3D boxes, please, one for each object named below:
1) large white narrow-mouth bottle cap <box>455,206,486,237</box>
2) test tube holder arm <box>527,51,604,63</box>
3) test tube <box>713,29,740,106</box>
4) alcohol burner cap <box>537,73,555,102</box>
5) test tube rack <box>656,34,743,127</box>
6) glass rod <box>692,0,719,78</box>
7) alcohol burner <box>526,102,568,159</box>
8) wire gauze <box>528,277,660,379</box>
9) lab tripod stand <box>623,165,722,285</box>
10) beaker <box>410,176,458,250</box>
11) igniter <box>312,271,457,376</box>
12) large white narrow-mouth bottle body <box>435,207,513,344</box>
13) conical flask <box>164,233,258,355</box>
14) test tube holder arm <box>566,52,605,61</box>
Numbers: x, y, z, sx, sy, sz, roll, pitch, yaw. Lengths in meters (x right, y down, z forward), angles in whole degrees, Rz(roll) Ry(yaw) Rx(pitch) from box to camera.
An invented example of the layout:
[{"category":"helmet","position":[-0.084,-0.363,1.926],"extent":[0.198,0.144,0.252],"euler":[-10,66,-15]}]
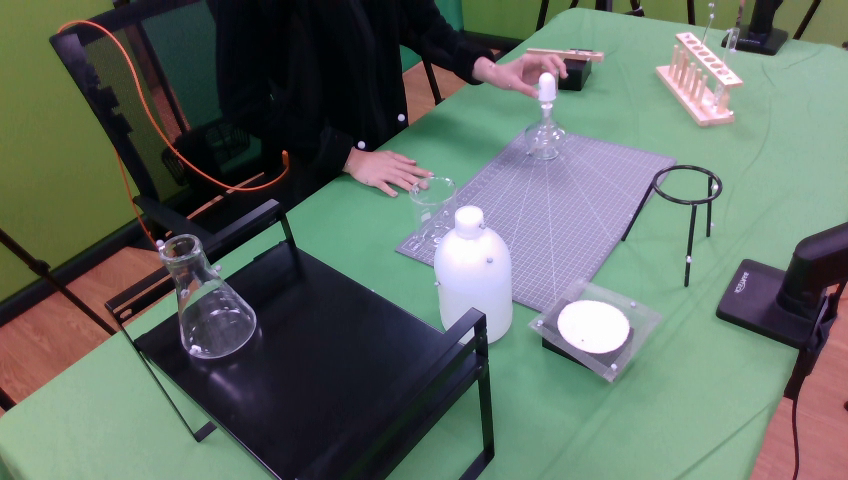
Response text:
[{"category":"large white narrow-mouth bottle cap","position":[0.057,-0.023,0.734],"extent":[0.038,0.024,0.037],"euler":[-4,40,4]},{"category":"test tube holder arm","position":[0.311,-0.408,1.344],"extent":[0.177,0.015,0.013],"euler":[14,38,30]},{"category":"test tube","position":[0.572,-0.324,1.147],"extent":[0.017,0.151,0.017],"euler":[-3,37,2]},{"category":"alcohol burner cap","position":[0.216,-0.272,1.071],"extent":[0.034,0.048,0.033],"euler":[-5,36,4]},{"category":"test tube rack","position":[0.553,-0.330,1.233],"extent":[0.067,0.085,0.241],"euler":[-7,40,2]},{"category":"glass rod","position":[0.561,-0.402,1.214],"extent":[0.008,0.200,0.008],"euler":[-1,49,2]},{"category":"alcohol burner","position":[0.228,-0.210,1.118],"extent":[0.078,0.119,0.077],"euler":[-5,43,5]},{"category":"wire gauze","position":[0.213,0.103,0.763],"extent":[0.124,0.011,0.122],"euler":[30,52,35]},{"category":"lab tripod stand","position":[0.365,-0.030,0.875],"extent":[0.148,0.132,0.147],"euler":[-6,41,6]},{"category":"beaker","position":[0.022,-0.041,0.964],"extent":[0.073,0.101,0.084],"euler":[28,51,35]},{"category":"igniter","position":[-0.068,0.111,0.859],"extent":[0.274,0.025,0.057],"euler":[27,61,34]},{"category":"large white narrow-mouth bottle body","position":[0.065,0.041,0.791],"extent":[0.102,0.195,0.101],"euler":[-4,41,4]},{"category":"conical flask","position":[-0.217,0.051,0.601],"extent":[0.075,0.122,0.075],"euler":[-4,40,4]},{"category":"test tube holder arm","position":[0.352,-0.401,1.325],"extent":[0.087,0.015,0.010],"euler":[15,38,31]}]
